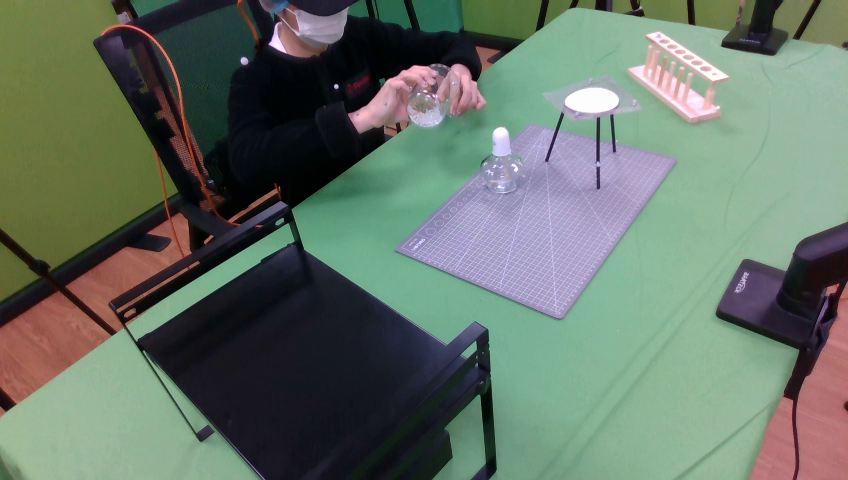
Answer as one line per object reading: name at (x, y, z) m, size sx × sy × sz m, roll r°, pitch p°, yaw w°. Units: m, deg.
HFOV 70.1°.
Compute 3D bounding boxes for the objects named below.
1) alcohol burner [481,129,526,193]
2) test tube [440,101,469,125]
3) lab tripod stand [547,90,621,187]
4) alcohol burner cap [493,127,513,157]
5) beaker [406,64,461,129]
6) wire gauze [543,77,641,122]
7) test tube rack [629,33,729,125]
alcohol burner at (0.138, -0.142, 1.052) m, size 0.078 × 0.119 × 0.077 m, roll -5°, pitch 42°, yaw 5°
test tube at (0.061, -0.243, 1.169) m, size 0.017 × 0.017 × 0.151 m, roll 9°, pitch 2°, yaw 20°
lab tripod stand at (0.289, -0.184, 1.062) m, size 0.148 × 0.132 × 0.147 m, roll -6°, pitch 41°, yaw 6°
alcohol burner cap at (0.132, -0.169, 1.030) m, size 0.034 × 0.048 × 0.033 m, roll -6°, pitch 36°, yaw 5°
beaker at (0.016, -0.243, 1.043) m, size 0.073 × 0.084 × 0.100 m, roll 5°, pitch 43°, yaw 19°
wire gauze at (0.282, -0.236, 1.020) m, size 0.125 × 0.011 × 0.120 m, roll -15°, pitch 40°, yaw -6°
test tube rack at (0.516, -0.337, 1.248) m, size 0.067 × 0.085 × 0.240 m, roll -14°, pitch 41°, yaw -6°
